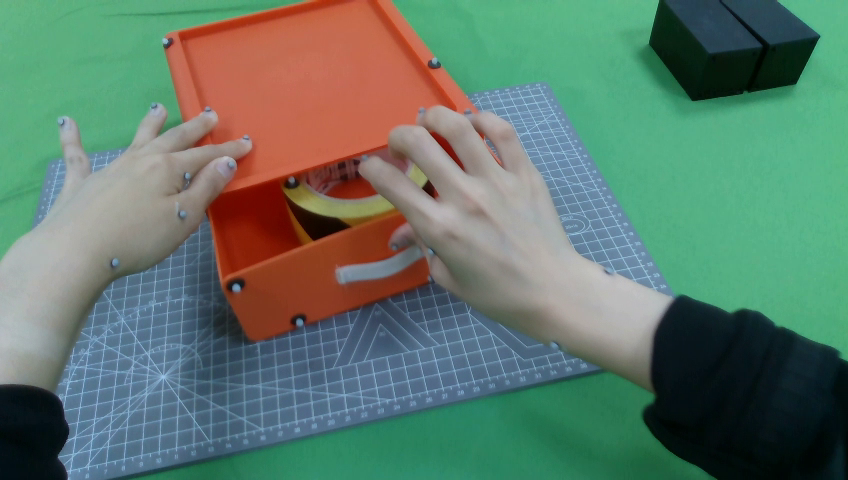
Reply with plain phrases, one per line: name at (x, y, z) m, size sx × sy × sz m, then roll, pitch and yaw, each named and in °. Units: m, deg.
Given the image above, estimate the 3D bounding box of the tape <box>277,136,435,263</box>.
tape at (-0.050, -0.038, 0.447) m, size 0.117 × 0.053 × 0.115 m, roll 0°, pitch 49°, yaw 0°

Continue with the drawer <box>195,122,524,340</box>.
drawer at (-0.061, -0.052, 0.451) m, size 0.195 × 0.074 × 0.209 m, roll -19°, pitch 50°, yaw -12°

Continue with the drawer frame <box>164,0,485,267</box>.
drawer frame at (-0.087, -0.102, 0.492) m, size 0.202 × 0.083 × 0.211 m, roll -20°, pitch 51°, yaw -14°
